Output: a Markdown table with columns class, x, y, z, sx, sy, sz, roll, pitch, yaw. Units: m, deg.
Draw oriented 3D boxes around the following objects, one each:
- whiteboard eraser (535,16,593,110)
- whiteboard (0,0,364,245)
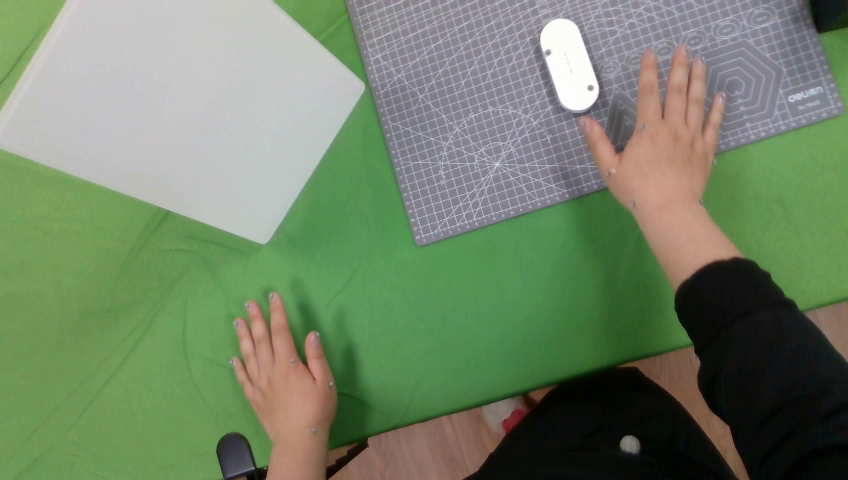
| class | x | y | z | sx | sy | sz | roll | pitch | yaw |
| --- | --- | --- | --- | --- | --- | --- | --- | --- | --- |
| whiteboard eraser | 0.147 | -0.186 | 0.638 | 0.041 | 0.019 | 0.101 | -19 | 84 | 8 |
| whiteboard | -0.241 | -0.155 | 0.594 | 0.142 | 0.308 | 0.217 | 35 | 93 | 30 |
